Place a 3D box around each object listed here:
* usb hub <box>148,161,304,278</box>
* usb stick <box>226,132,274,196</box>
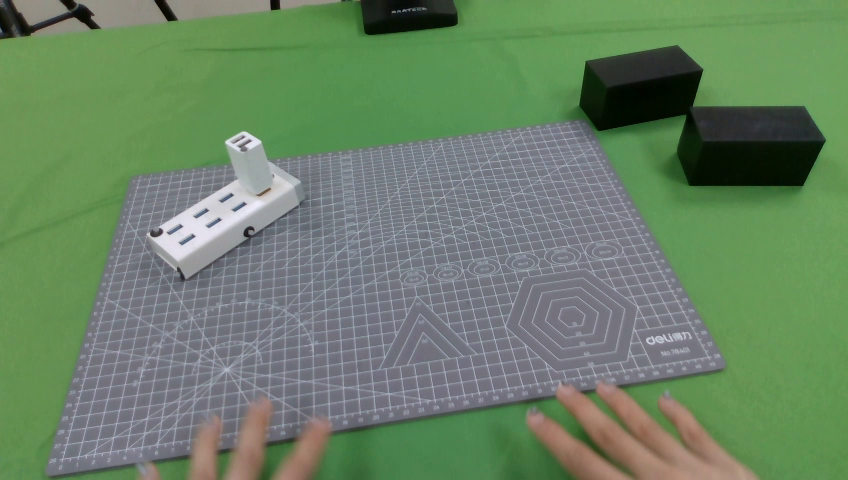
[{"bbox_3d":[-0.167,-0.021,0.520,0.049,0.025,0.125,32,55,30],"label":"usb hub"},{"bbox_3d":[-0.145,-0.059,0.512,0.027,0.060,0.021,28,54,31],"label":"usb stick"}]
